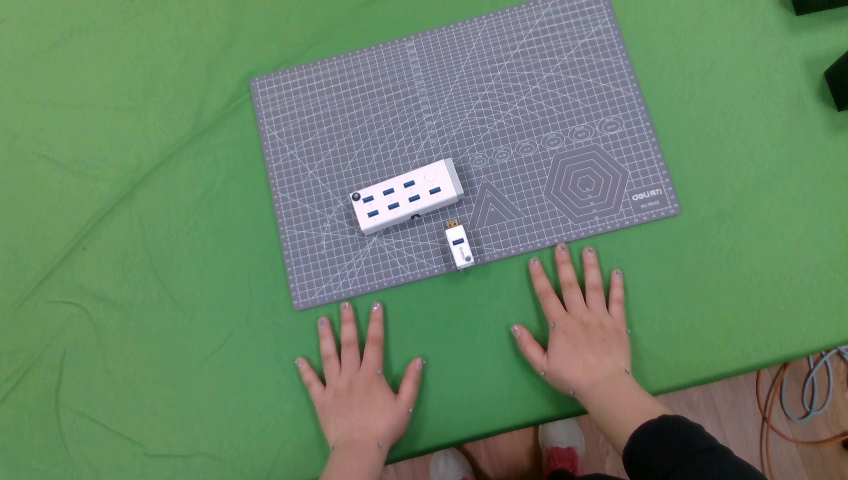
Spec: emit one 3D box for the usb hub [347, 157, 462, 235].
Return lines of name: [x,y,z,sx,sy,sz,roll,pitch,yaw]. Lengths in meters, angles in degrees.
usb hub: [-0.022,-0.051,0.695,0.125,0.025,0.049,-20,77,1]

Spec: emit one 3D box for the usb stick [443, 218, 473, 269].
usb stick: [0.036,0.001,0.678,0.021,0.027,0.059,-19,74,5]
